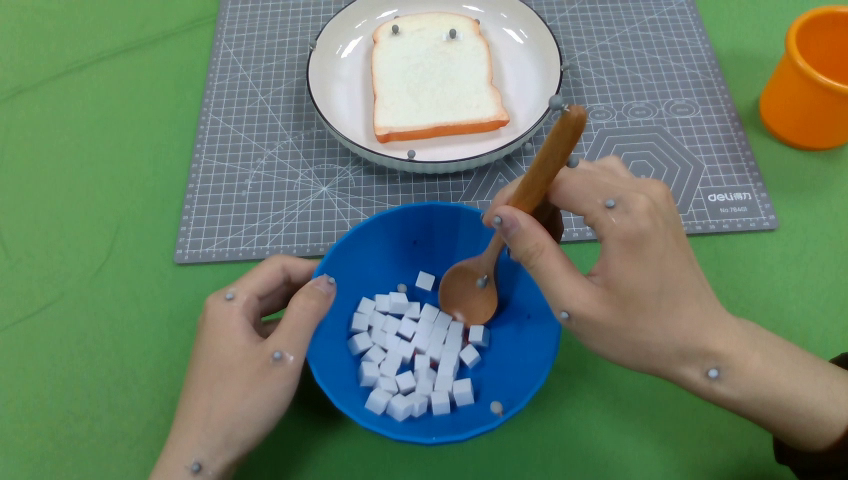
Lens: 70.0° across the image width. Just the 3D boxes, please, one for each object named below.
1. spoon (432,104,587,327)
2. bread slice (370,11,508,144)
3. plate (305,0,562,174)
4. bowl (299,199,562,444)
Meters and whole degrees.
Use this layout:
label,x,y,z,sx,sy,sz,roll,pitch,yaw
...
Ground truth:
label,x,y,z,sx,sy,sz,roll,pitch,yaw
spoon,0.041,-0.001,0.326,0.041,0.195,0.021,41,59,10
bread slice,0.004,-0.140,0.512,0.107,0.018,0.133,-10,62,-2
plate,0.007,-0.137,0.507,0.209,0.038,0.207,-1,61,2
bowl,0.005,0.058,0.379,0.151,0.077,0.150,-1,60,2
